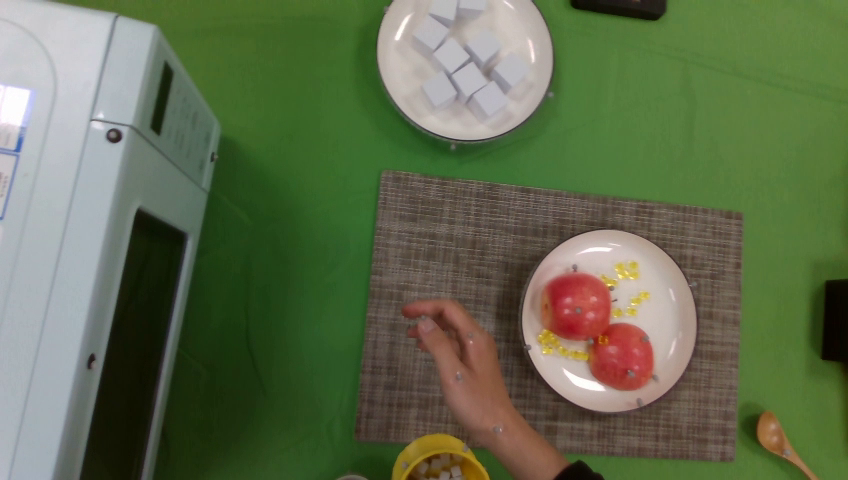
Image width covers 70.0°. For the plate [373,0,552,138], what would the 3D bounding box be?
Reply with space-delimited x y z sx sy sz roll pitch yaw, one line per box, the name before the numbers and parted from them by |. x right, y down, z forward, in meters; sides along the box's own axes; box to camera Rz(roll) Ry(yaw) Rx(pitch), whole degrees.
plate | 0.044 -0.217 0.708 0.208 0.039 0.207 1 84 -8

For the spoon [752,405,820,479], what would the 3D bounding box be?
spoon | 0.453 0.275 0.722 0.041 0.021 0.194 -42 91 -27

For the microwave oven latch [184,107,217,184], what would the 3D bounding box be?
microwave oven latch | -0.239 -0.101 0.639 0.030 0.029 0.079 12 84 -7

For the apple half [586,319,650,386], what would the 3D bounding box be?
apple half | 0.224 0.128 0.688 0.081 0.033 0.081 1 81 -7

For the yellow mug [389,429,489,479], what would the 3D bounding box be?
yellow mug | 0.011 0.273 0.640 0.100 0.064 0.130 18 85 -6

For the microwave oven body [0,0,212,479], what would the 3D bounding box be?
microwave oven body | -0.398 0.039 0.506 0.327 0.260 0.440 9 84 -7

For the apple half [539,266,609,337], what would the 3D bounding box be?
apple half | 0.170 0.069 0.677 0.075 0.053 0.080 4 84 -5

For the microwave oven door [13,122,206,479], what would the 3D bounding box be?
microwave oven door | -0.260 0.103 0.514 0.039 0.244 0.355 9 83 -6

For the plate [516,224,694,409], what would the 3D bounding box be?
plate | 0.204 0.086 0.696 0.209 0.038 0.208 1 85 -8

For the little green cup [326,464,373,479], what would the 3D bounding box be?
little green cup | -0.080 0.269 0.641 0.061 0.038 0.061 1 84 -6
